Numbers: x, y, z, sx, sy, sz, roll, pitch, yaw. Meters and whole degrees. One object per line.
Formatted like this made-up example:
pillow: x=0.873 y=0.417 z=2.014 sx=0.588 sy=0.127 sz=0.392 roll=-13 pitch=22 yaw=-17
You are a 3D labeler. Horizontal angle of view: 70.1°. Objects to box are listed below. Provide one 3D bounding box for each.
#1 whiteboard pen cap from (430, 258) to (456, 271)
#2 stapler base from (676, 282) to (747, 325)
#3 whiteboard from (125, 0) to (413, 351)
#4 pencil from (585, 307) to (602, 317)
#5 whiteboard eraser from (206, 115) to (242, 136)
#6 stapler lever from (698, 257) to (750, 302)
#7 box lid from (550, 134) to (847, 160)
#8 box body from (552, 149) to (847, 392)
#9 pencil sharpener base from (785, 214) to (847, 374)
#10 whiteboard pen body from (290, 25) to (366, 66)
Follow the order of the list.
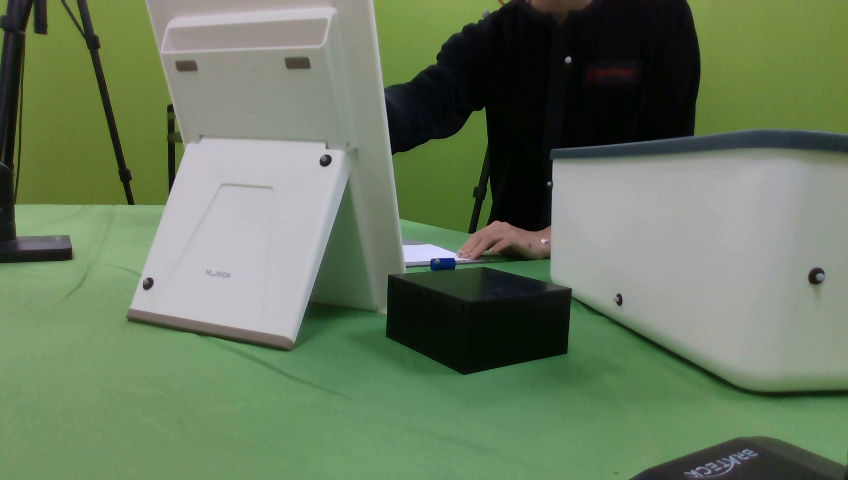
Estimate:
whiteboard pen cap: x=0.024 y=0.031 z=0.791 sx=0.033 sy=0.018 sz=0.018 roll=1 pitch=8 yaw=-13
stapler base: x=0.283 y=0.057 z=0.585 sx=0.041 sy=0.024 sz=0.131 roll=31 pitch=18 yaw=34
whiteboard: x=-0.151 y=-0.050 z=0.471 sx=0.216 sy=0.305 sz=0.144 roll=6 pitch=27 yaw=24
pencil: x=0.250 y=0.055 z=0.656 sx=0.195 sy=0.012 sz=0.012 roll=-12 pitch=14 yaw=-27
whiteboard eraser: x=-0.438 y=-0.249 z=1.320 sx=0.056 sy=0.042 sz=0.112 roll=-3 pitch=9 yaw=-30
stapler lever: x=0.291 y=0.035 z=0.580 sx=0.026 sy=0.040 sz=0.119 roll=31 pitch=20 yaw=34
box lid: x=0.294 y=-0.071 z=0.538 sx=0.264 sy=0.015 sz=0.370 roll=2 pitch=6 yaw=-10
box body: x=0.290 y=0.002 z=0.549 sx=0.255 sy=0.160 sz=0.363 roll=2 pitch=7 yaw=-10
pencil sharpener base: x=0.322 y=0.038 z=0.441 sx=0.077 sy=0.107 sz=0.061 roll=1 pitch=8 yaw=-18
whiteboard pen body: x=-0.085 y=-0.174 z=0.543 sx=0.017 sy=0.017 sz=0.141 roll=5 pitch=29 yaw=18
